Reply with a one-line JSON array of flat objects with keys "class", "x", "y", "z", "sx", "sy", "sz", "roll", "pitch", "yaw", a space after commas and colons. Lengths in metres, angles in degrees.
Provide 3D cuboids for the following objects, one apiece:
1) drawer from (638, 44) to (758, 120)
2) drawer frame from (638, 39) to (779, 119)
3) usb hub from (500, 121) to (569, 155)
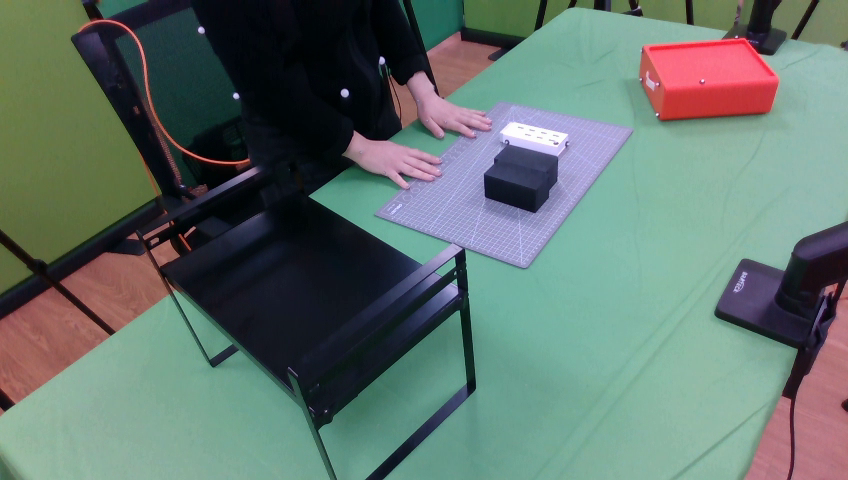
[{"class": "drawer", "x": 0.562, "y": -0.327, "z": 1.230, "sx": 0.212, "sy": 0.073, "sz": 0.193, "roll": -2, "pitch": 40, "yaw": 5}, {"class": "drawer frame", "x": 0.563, "y": -0.329, "z": 1.227, "sx": 0.213, "sy": 0.083, "sz": 0.200, "roll": -2, "pitch": 40, "yaw": 5}, {"class": "usb hub", "x": 0.212, "y": -0.198, "z": 1.167, "sx": 0.124, "sy": 0.025, "sz": 0.049, "roll": 20, "pitch": 48, "yaw": 29}]
